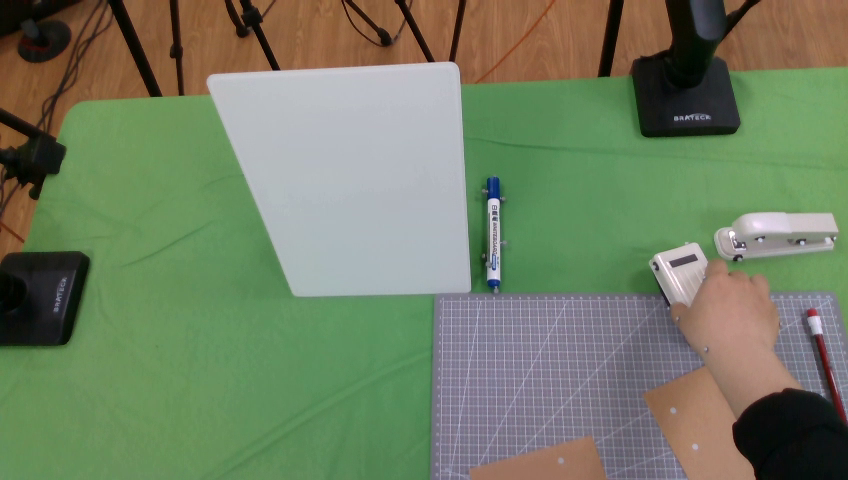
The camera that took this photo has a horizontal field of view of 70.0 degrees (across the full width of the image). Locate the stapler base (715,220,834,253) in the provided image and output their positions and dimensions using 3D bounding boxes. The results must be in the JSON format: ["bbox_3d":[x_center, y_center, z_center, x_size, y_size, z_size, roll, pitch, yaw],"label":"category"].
[{"bbox_3d":[0.408,-0.013,0.700,0.130,0.024,0.041,-6,69,1],"label":"stapler base"}]

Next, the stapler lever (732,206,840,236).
[{"bbox_3d":[0.407,-0.023,0.678,0.118,0.040,0.026,-6,68,3],"label":"stapler lever"}]

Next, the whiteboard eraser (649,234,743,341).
[{"bbox_3d":[0.296,0.052,0.667,0.055,0.042,0.111,-18,65,1],"label":"whiteboard eraser"}]

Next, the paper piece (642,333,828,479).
[{"bbox_3d":[0.319,0.185,0.629,0.136,0.009,0.137,-23,68,0],"label":"paper piece"}]

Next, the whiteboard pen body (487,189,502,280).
[{"bbox_3d":[0.086,-0.019,0.737,0.017,0.017,0.139,0,67,6],"label":"whiteboard pen body"}]

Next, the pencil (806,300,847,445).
[{"bbox_3d":[0.428,0.156,0.629,0.012,0.012,0.192,-5,68,4],"label":"pencil"}]

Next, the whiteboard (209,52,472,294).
[{"bbox_3d":[-0.059,-0.093,0.659,0.217,0.308,0.142,-1,47,6],"label":"whiteboard"}]

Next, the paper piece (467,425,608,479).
[{"bbox_3d":[0.126,0.270,0.610,0.135,0.004,0.134,-15,67,-1],"label":"paper piece"}]

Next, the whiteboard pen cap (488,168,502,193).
[{"bbox_3d":[0.089,-0.072,0.759,0.018,0.018,0.033,-2,64,5],"label":"whiteboard pen cap"}]
